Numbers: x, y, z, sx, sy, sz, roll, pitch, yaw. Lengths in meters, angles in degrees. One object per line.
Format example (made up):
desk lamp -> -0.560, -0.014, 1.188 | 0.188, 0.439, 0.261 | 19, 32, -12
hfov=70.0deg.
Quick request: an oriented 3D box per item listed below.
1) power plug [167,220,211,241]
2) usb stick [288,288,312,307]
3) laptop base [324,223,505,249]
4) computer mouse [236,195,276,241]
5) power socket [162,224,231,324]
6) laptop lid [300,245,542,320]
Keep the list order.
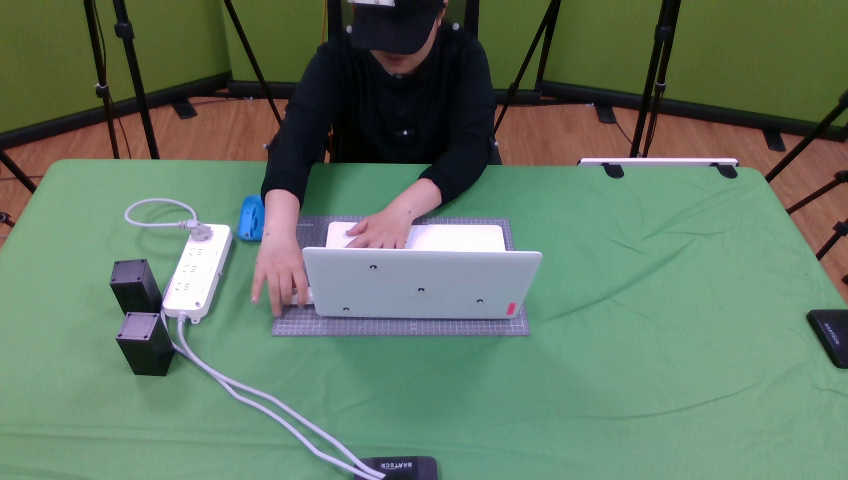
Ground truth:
power plug -> -0.439, -0.017, 1.143 | 0.072, 0.053, 0.035 | 10, 43, 6
usb stick -> -0.209, 0.101, 1.069 | 0.059, 0.027, 0.021 | -4, 49, -13
laptop base -> -0.016, 0.054, 1.146 | 0.354, 0.023, 0.234 | 1, 42, -3
computer mouse -> -0.334, -0.048, 1.207 | 0.063, 0.041, 0.116 | 3, 50, -4
power socket -> -0.412, 0.052, 1.107 | 0.072, 0.033, 0.225 | 4, 46, -2
laptop lid -> -0.007, 0.075, 0.963 | 0.357, 0.243, 0.013 | 2, 58, -4
